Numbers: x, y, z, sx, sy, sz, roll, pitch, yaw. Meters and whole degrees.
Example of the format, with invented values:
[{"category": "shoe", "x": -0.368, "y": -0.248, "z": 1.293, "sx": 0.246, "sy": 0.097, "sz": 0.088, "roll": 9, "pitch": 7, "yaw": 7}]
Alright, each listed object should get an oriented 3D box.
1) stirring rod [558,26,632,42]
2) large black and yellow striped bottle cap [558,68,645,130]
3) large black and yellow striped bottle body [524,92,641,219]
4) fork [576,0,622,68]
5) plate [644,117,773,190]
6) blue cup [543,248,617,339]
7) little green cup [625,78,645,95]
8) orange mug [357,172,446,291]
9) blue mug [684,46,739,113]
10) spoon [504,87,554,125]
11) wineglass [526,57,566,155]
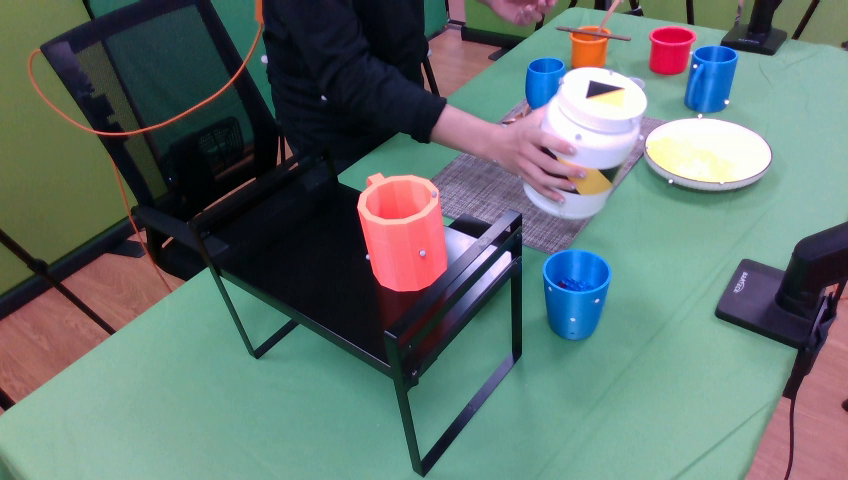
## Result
[{"category": "stirring rod", "x": 0.381, "y": -0.462, "z": 1.356, "sx": 0.175, "sy": 0.006, "sz": 0.014, "roll": 22, "pitch": 48, "yaw": 30}, {"category": "large black and yellow striped bottle cap", "x": 0.238, "y": -0.191, "z": 0.810, "sx": 0.115, "sy": 0.019, "sz": 0.114, "roll": 5, "pitch": 49, "yaw": -6}, {"category": "large black and yellow striped bottle body", "x": 0.227, "y": -0.135, "z": 0.872, "sx": 0.131, "sy": 0.184, "sz": 0.130, "roll": 5, "pitch": 48, "yaw": -5}, {"category": "fork", "x": 0.409, "y": -0.484, "z": 1.381, "sx": 0.028, "sy": 0.019, "sz": 0.207, "roll": 37, "pitch": 101, "yaw": 45}, {"category": "plate", "x": 0.495, "y": -0.149, "z": 1.063, "sx": 0.209, "sy": 0.038, "sz": 0.208, "roll": -5, "pitch": 40, "yaw": 4}, {"category": "blue cup", "x": 0.199, "y": 0.076, "z": 0.797, "sx": 0.092, "sy": 0.100, "sz": 0.092, "roll": -4, "pitch": 39, "yaw": 4}, {"category": "little green cup", "x": 0.426, "y": -0.306, "z": 1.257, "sx": 0.061, "sy": 0.039, "sz": 0.061, "roll": -5, "pitch": 40, "yaw": 4}, {"category": "orange mug", "x": -0.030, "y": -0.019, "z": 0.668, "sx": 0.084, "sy": 0.101, "sz": 0.125, "roll": -23, "pitch": 47, "yaw": -16}, {"category": "blue mug", "x": 0.556, "y": -0.310, "z": 1.190, "sx": 0.117, "sy": 0.106, "sz": 0.081, "roll": -32, "pitch": 46, "yaw": -25}, {"category": "spoon", "x": 0.227, "y": -0.284, "z": 1.269, "sx": 0.041, "sy": 0.022, "sz": 0.194, "roll": 2, "pitch": 36, "yaw": 44}, {"category": "wineglass", "x": 0.221, "y": -0.237, "z": 1.097, "sx": 0.074, "sy": 0.173, "sz": 0.073, "roll": -4, "pitch": 41, "yaw": 4}]
